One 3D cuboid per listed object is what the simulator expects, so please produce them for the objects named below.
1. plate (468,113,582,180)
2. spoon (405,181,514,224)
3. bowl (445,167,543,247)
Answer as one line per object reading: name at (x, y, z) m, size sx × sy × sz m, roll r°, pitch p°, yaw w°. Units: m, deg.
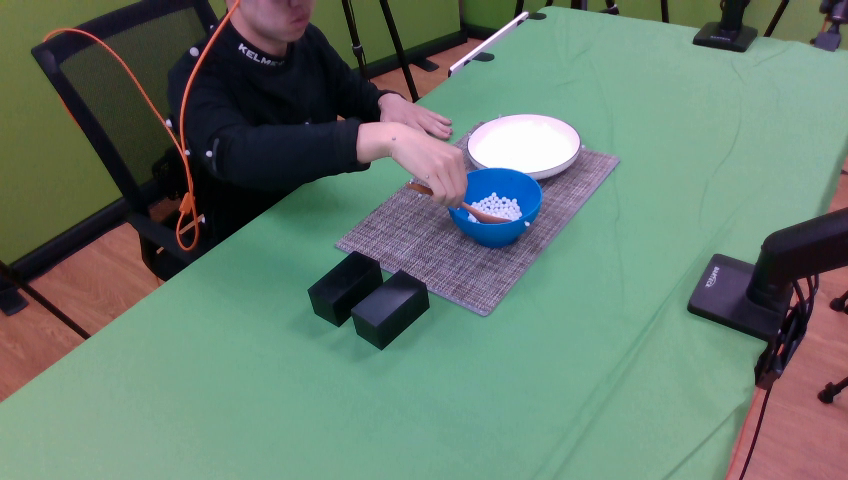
plate at (0.186, -0.169, 1.122) m, size 0.207 × 0.039 × 0.206 m, roll -4°, pitch 40°, yaw 4°
spoon at (0.055, -0.052, 0.904) m, size 0.195 × 0.041 × 0.021 m, roll 23°, pitch 63°, yaw -25°
bowl at (0.111, -0.042, 0.952) m, size 0.151 × 0.077 × 0.150 m, roll -4°, pitch 41°, yaw 4°
